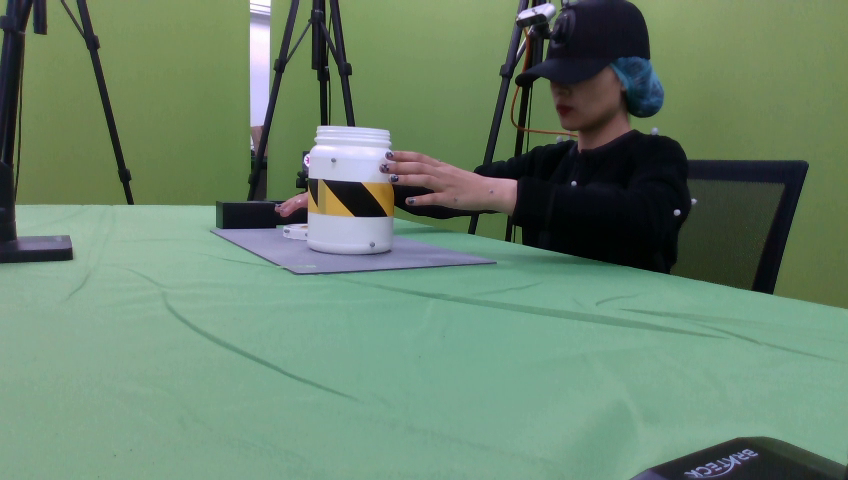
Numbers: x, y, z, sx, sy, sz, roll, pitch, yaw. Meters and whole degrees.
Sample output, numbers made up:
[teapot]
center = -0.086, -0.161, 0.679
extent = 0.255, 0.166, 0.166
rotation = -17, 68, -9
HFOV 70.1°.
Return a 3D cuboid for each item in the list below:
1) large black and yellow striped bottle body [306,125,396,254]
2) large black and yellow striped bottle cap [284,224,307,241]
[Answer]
[large black and yellow striped bottle body]
center = -0.109, -0.077, 0.913
extent = 0.131, 0.184, 0.130
rotation = 3, 7, 0
[large black and yellow striped bottle cap]
center = -0.186, -0.014, 1.055
extent = 0.115, 0.019, 0.115
rotation = 1, 8, 0
